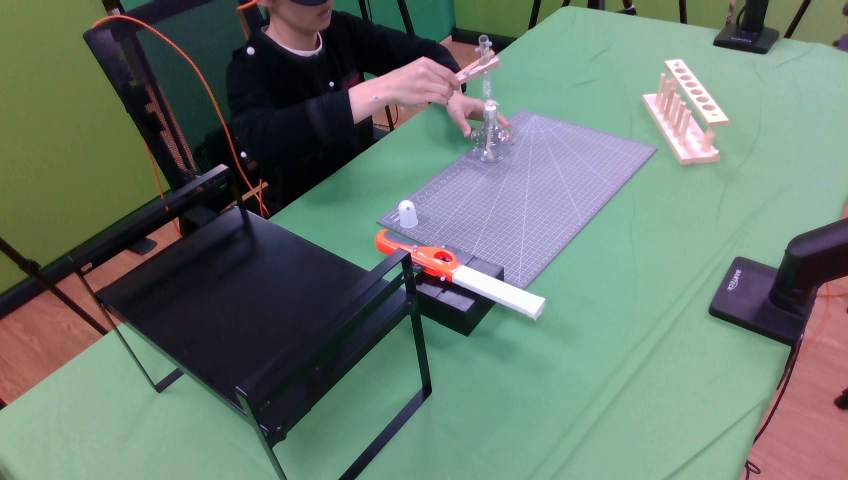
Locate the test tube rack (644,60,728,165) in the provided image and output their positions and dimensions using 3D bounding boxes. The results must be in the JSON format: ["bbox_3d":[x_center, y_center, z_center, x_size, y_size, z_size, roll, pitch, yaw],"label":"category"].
[{"bbox_3d":[0.486,-0.246,1.140,0.067,0.085,0.241,-5,41,4],"label":"test tube rack"}]

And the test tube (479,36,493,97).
[{"bbox_3d":[0.105,-0.286,1.013,0.017,0.151,0.017,-3,68,8],"label":"test tube"}]

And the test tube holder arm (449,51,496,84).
[{"bbox_3d":[0.081,-0.283,1.002,0.088,0.015,0.010,-34,64,1],"label":"test tube holder arm"}]

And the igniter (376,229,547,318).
[{"bbox_3d":[0.040,0.041,0.845,0.274,0.025,0.057,22,46,27],"label":"igniter"}]

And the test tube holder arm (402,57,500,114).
[{"bbox_3d":[0.044,-0.256,1.002,0.178,0.015,0.013,-28,63,4],"label":"test tube holder arm"}]

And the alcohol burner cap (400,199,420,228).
[{"bbox_3d":[-0.025,-0.047,1.015,0.034,0.048,0.033,-4,42,4],"label":"alcohol burner cap"}]

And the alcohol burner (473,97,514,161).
[{"bbox_3d":[0.128,-0.208,1.124,0.078,0.119,0.077,-5,39,4],"label":"alcohol burner"}]
